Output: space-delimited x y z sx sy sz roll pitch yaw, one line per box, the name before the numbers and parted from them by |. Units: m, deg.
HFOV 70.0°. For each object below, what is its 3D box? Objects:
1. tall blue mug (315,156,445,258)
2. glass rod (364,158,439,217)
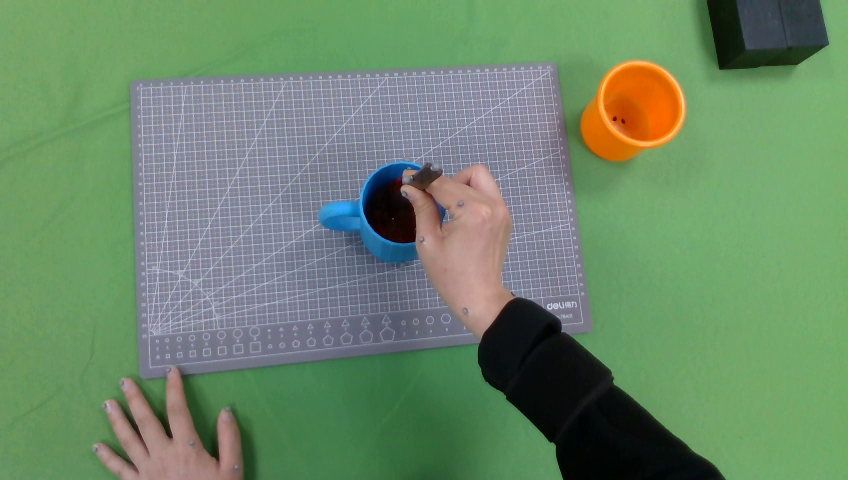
tall blue mug | -0.039 -0.021 0.571 0.107 0.108 0.077 -29 86 -10
glass rod | -0.024 -0.041 0.512 0.008 0.199 0.008 3 81 -19
